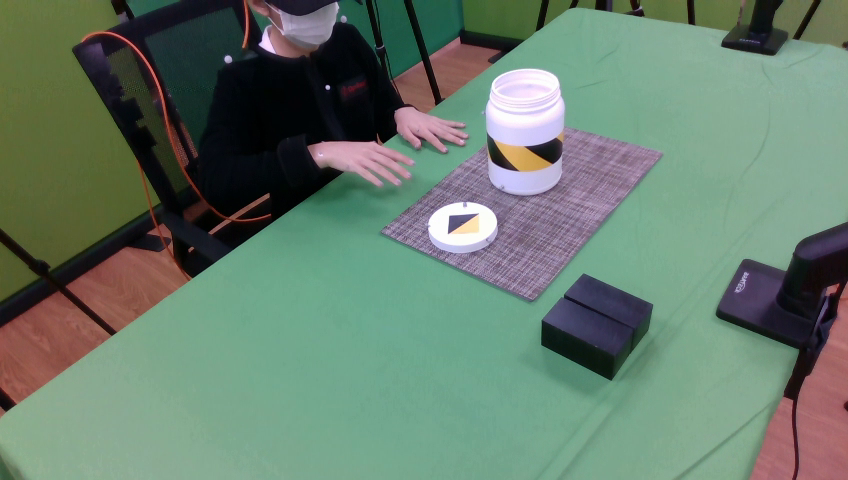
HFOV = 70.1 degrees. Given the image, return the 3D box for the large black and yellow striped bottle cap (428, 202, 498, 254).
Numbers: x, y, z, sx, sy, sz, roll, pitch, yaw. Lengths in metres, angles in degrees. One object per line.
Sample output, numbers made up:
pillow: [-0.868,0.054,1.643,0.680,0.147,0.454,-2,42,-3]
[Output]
large black and yellow striped bottle cap: [0.064,-0.022,0.990,0.115,0.019,0.114,-4,42,4]

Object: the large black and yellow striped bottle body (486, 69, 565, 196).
large black and yellow striped bottle body: [0.173,-0.183,1.033,0.131,0.185,0.130,-5,41,5]
